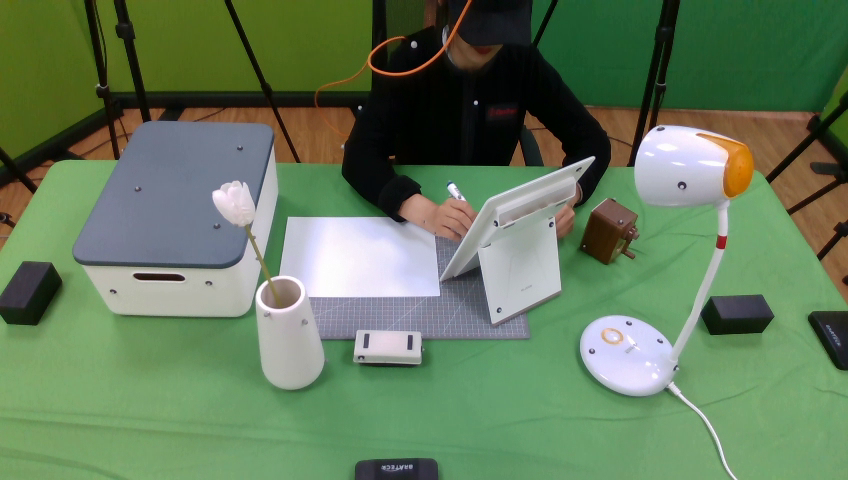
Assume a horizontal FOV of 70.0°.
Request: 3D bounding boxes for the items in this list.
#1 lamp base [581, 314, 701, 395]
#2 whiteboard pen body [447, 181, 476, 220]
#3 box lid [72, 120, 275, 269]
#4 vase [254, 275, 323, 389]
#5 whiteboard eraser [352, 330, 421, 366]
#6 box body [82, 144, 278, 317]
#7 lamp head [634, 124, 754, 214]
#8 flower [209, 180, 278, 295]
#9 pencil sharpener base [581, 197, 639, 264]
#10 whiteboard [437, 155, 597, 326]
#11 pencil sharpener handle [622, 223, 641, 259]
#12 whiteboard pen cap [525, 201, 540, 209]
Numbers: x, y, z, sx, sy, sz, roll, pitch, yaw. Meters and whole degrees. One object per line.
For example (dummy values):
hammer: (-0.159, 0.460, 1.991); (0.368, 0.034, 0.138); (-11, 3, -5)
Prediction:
lamp base: (0.361, 0.145, 0.973); (0.178, 0.181, 0.160); (34, 53, 23)
whiteboard pen body: (0.081, -0.054, 1.102); (0.017, 0.017, 0.140); (-22, 63, -23)
box lid: (-0.417, -0.094, 1.056); (0.263, 0.015, 0.369); (1, 47, -3)
vase: (-0.209, 0.143, 0.921); (0.098, 0.201, 0.097); (1, 46, -1)
whiteboard eraser: (-0.060, 0.180, 1.005); (0.113, 0.042, 0.055); (3, 48, -2)
box body: (-0.421, -0.041, 1.108); (0.254, 0.161, 0.361); (2, 46, -3)
lamp head: (0.351, -0.089, 0.776); (0.112, 0.113, 0.122); (-30, 30, -28)
flower: (-0.217, 0.075, 0.871); (0.044, 0.363, 0.038); (-29, 36, -19)
pencil sharpener base: (0.362, -0.017, 1.179); (0.076, 0.107, 0.061); (37, 54, 27)
whiteboard: (0.180, 0.024, 1.029); (0.217, 0.306, 0.143); (-21, 70, -23)
pencil sharpener handle: (0.397, 0.003, 1.146); (0.030, 0.068, 0.036); (37, 46, 27)
whiteboard pen cap: (0.230, -0.074, 1.289); (0.033, 0.018, 0.018); (4, 46, 4)
